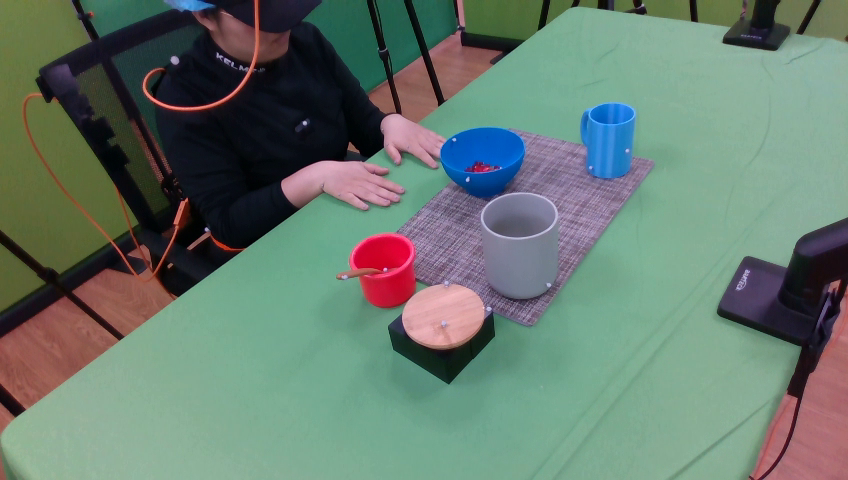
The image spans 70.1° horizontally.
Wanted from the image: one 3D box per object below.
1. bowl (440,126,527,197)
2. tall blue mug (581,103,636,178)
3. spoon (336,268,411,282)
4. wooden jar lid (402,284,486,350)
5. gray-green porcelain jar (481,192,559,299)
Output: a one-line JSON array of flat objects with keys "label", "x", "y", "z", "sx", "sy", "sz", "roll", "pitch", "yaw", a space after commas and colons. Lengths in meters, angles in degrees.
[{"label": "bowl", "x": 0.107, "y": -0.130, "z": 1.070, "sx": 0.151, "sy": 0.077, "sz": 0.150, "roll": -5, "pitch": 40, "yaw": 5}, {"label": "tall blue mug", "x": 0.313, "y": -0.178, "z": 1.062, "sx": 0.106, "sy": 0.108, "sz": 0.078, "roll": 21, "pitch": 50, "yaw": 31}, {"label": "spoon", "x": -0.071, "y": 0.047, "z": 0.850, "sx": 0.041, "sy": 0.195, "sz": 0.021, "roll": 18, "pitch": 93, "yaw": 24}, {"label": "wooden jar lid", "x": 0.026, "y": 0.101, "z": 0.786, "sx": 0.108, "sy": 0.021, "sz": 0.108, "roll": -5, "pitch": 39, "yaw": 4}, {"label": "gray-green porcelain jar", "x": 0.138, "y": 0.012, "z": 0.858, "sx": 0.106, "sy": 0.127, "sz": 0.105, "roll": -6, "pitch": 40, "yaw": 5}]
